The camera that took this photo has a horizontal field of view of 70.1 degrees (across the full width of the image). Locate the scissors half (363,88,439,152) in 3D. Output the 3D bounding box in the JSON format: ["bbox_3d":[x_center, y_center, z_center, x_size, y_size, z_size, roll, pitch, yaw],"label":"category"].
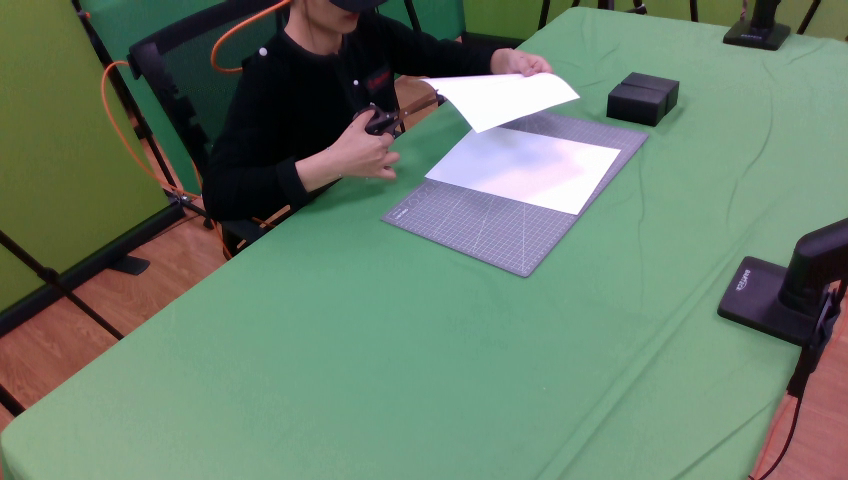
[{"bbox_3d":[-0.040,-0.221,1.111,0.175,0.040,0.012,-41,33,3],"label":"scissors half"}]

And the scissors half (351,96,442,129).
[{"bbox_3d":[-0.049,-0.238,1.098,0.176,0.040,0.012,-17,36,-14],"label":"scissors half"}]
